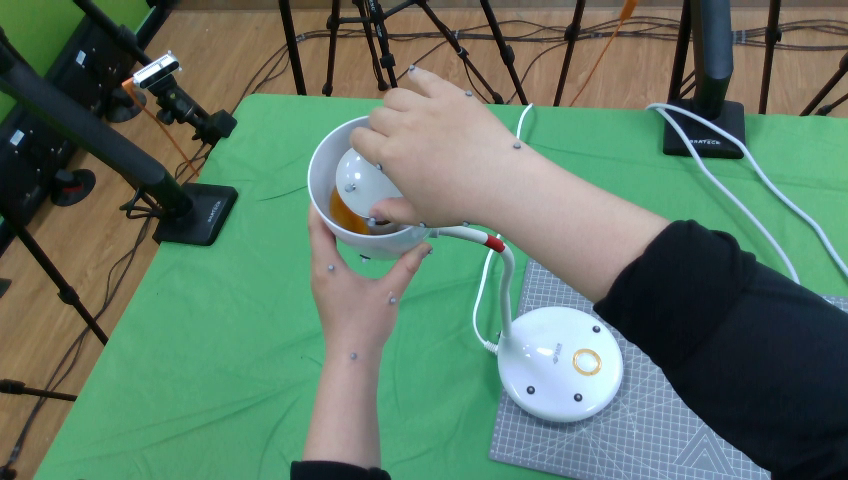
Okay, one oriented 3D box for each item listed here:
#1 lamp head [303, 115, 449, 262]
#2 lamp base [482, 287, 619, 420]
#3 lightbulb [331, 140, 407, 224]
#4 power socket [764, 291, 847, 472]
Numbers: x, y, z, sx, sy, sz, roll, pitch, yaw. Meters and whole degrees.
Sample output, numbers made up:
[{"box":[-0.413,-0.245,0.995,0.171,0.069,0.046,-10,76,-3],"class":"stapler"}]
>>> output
[{"box":[-0.034,-0.030,0.527,0.112,0.124,0.111,-3,66,6],"class":"lamp head"},{"box":[0.147,0.115,0.737,0.178,0.182,0.159,0,56,16],"class":"lamp base"},{"box":[-0.042,-0.040,0.497,0.059,0.108,0.059,0,71,1],"class":"lightbulb"},{"box":[0.458,0.161,0.730,0.072,0.033,0.225,6,58,15],"class":"power socket"}]
